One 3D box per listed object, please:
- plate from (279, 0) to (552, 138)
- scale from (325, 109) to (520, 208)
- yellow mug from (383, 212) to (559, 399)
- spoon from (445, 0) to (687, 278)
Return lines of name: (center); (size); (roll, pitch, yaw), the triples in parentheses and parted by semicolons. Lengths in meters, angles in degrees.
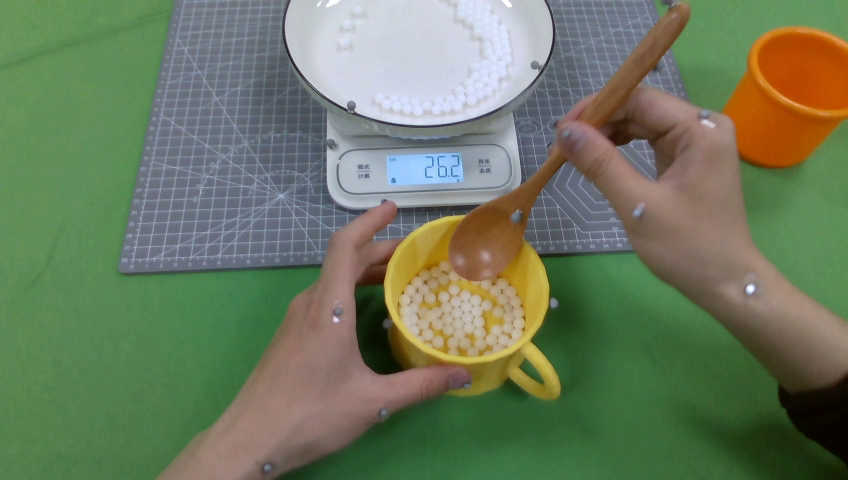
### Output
plate: (-0.006, -0.160, 0.477); (0.209, 0.038, 0.207); (1, 61, -2)
scale: (-0.006, -0.118, 0.491); (0.149, 0.032, 0.199); (-3, 62, -3)
yellow mug: (0.035, 0.051, 0.385); (0.100, 0.064, 0.130); (-40, 70, -19)
spoon: (0.073, -0.046, 0.336); (0.041, 0.194, 0.021); (40, 36, 2)
